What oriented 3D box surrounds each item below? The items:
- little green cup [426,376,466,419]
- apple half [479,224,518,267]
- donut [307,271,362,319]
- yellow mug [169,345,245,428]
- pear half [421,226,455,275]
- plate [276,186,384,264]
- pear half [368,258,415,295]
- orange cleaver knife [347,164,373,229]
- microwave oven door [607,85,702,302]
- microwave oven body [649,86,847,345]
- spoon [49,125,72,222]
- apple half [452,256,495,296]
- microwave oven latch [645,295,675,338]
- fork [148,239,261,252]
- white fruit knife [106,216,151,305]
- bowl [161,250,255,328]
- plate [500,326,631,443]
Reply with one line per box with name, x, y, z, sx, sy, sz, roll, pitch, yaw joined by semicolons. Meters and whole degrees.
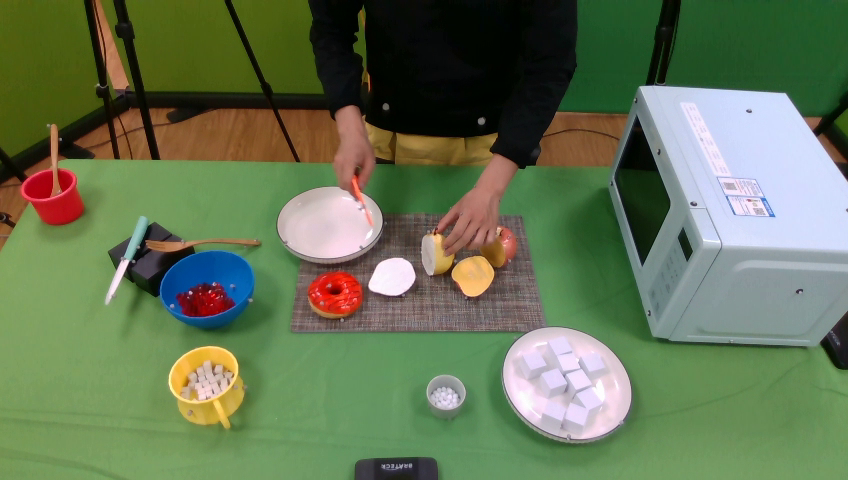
little green cup;0.033;0.248;0.950;0.061;0.039;0.061;2;46;-2
apple half;0.148;0.008;1.160;0.053;0.075;0.080;-24;48;-29
donut;-0.157;0.097;1.073;0.099;0.048;0.098;4;45;-4
yellow mug;-0.322;0.230;0.922;0.100;0.064;0.130;-24;53;-25
pear half;0.031;0.012;1.122;0.056;0.110;0.076;-16;53;-21
plate;-0.184;-0.027;1.195;0.209;0.038;0.208;2;46;-2
pear half;-0.060;0.073;1.112;0.088;0.031;0.070;-27;63;-7
orange cleaver knife;-0.115;-0.082;1.097;0.012;0.077;0.210;-20;27;-5
microwave oven door;0.423;-0.094;1.140;0.039;0.245;0.353;2;46;-1
microwave oven body;0.567;-0.053;1.118;0.326;0.261;0.439;2;45;-1
spoon;-0.717;-0.131;1.189;0.042;0.021;0.193;-3;90;-7
apple half;0.095;0.069;1.120;0.081;0.033;0.081;-7;61;13
microwave oven latch;0.411;0.134;1.061;0.030;0.029;0.078;3;45;0
fork;-0.399;0.007;1.118;0.208;0.019;0.028;-4;36;-37
white fruit knife;-0.519;0.032;1.066;0.027;0.016;0.206;-18;45;19
bowl;-0.362;0.097;1.040;0.151;0.077;0.150;2;45;-2
plate;0.224;0.234;0.978;0.208;0.039;0.206;2;46;-2
